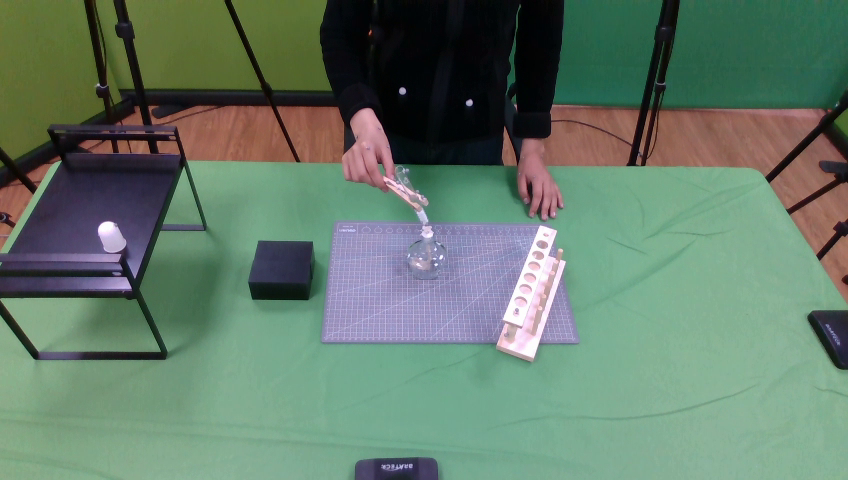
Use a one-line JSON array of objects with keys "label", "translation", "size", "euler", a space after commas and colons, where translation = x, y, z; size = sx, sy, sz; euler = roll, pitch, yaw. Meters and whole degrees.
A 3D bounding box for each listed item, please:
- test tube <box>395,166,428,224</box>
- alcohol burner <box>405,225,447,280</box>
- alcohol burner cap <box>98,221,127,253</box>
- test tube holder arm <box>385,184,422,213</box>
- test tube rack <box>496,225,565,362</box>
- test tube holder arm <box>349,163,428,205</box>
[{"label": "test tube", "translation": [-0.019, -0.071, 0.996], "size": [0.017, 0.151, 0.017], "euler": [-9, 56, 13]}, {"label": "alcohol burner", "translation": [0.005, 0.017, 1.115], "size": [0.078, 0.120, 0.077], "euler": [1, 47, -1]}, {"label": "alcohol burner cap", "translation": [-0.468, -0.007, 0.904], "size": [0.034, 0.048, 0.033], "euler": [3, 46, -3]}, {"label": "test tube holder arm", "translation": [-0.035, -0.073, 1.014], "size": [0.010, 0.015, 0.087], "euler": [-45, 55, -9]}, {"label": "test tube rack", "translation": [0.200, 0.089, 1.081], "size": [0.066, 0.085, 0.241], "euler": [19, 48, 13]}, {"label": "test tube holder arm", "translation": [-0.063, -0.097, 1.040], "size": [0.177, 0.015, 0.013], "euler": [29, 72, 32]}]
